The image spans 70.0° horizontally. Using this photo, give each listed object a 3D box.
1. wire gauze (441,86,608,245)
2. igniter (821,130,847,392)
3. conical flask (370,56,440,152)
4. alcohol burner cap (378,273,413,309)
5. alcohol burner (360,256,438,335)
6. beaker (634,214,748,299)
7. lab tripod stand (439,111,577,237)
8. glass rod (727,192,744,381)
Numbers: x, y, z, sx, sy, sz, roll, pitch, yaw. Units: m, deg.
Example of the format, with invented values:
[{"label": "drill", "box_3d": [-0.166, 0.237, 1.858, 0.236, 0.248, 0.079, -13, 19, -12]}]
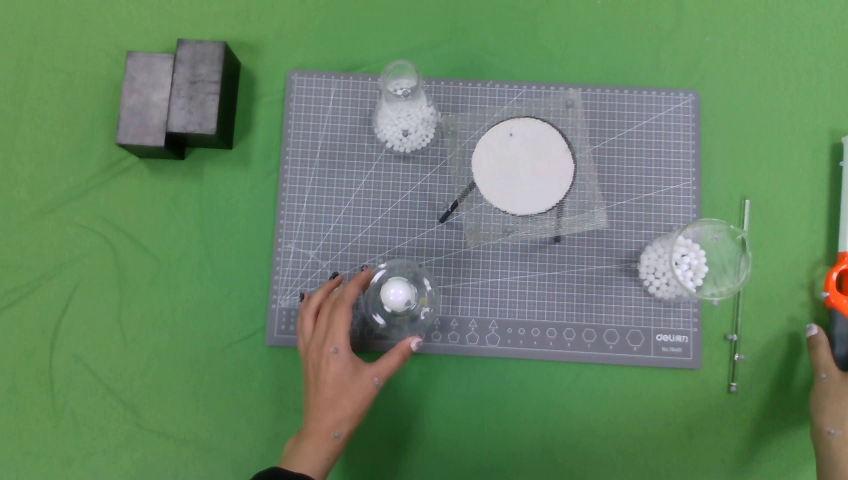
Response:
[{"label": "wire gauze", "box_3d": [0.084, -0.063, 0.515, 0.125, 0.011, 0.121, -10, 83, 0]}, {"label": "igniter", "box_3d": [0.442, 0.020, 0.628, 0.057, 0.025, 0.275, 10, 83, -9]}, {"label": "conical flask", "box_3d": [-0.021, -0.138, 0.598, 0.075, 0.122, 0.075, 0, 82, 1]}, {"label": "alcohol burner cap", "box_3d": [-0.026, 0.046, 0.543, 0.034, 0.048, 0.034, 0, 87, -2]}, {"label": "alcohol burner", "box_3d": [-0.025, 0.051, 0.579, 0.078, 0.119, 0.077, 0, 81, 3]}, {"label": "beaker", "box_3d": [0.256, 0.018, 0.590, 0.084, 0.100, 0.074, -34, 84, -4]}, {"label": "lab tripod stand", "box_3d": [0.084, -0.056, 0.582, 0.148, 0.132, 0.148, 0, 84, 1]}, {"label": "glass rod", "box_3d": [0.327, 0.047, 0.634, 0.008, 0.008, 0.199, 7, 83, 1]}]
